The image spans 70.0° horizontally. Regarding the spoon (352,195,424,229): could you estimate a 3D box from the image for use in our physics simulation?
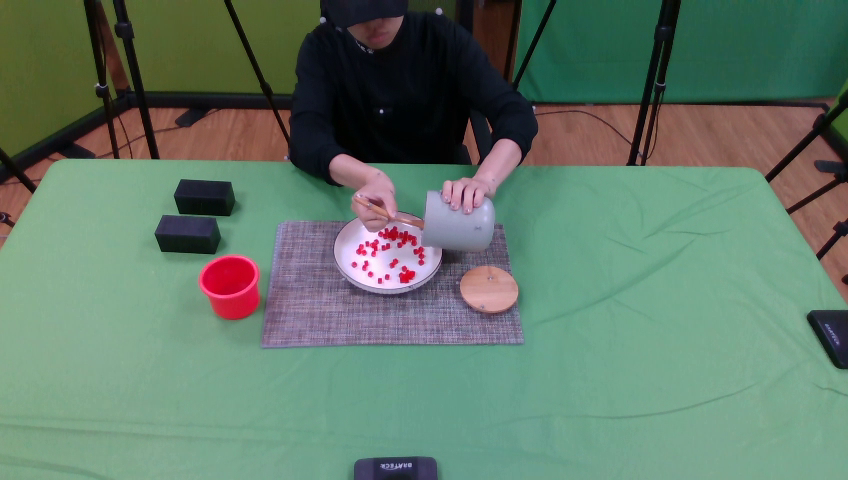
[{"bbox_3d":[-0.042,-0.039,1.086,0.194,0.022,0.041,19,35,-20],"label":"spoon"}]

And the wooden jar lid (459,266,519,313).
[{"bbox_3d":[0.118,0.093,1.111,0.108,0.021,0.107,1,47,-1],"label":"wooden jar lid"}]

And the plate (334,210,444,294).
[{"bbox_3d":[-0.066,0.026,1.150,0.208,0.039,0.206,2,46,-2],"label":"plate"}]

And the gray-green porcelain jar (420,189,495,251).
[{"bbox_3d":[0.061,-0.035,1.107,0.126,0.106,0.105,5,46,-2],"label":"gray-green porcelain jar"}]
